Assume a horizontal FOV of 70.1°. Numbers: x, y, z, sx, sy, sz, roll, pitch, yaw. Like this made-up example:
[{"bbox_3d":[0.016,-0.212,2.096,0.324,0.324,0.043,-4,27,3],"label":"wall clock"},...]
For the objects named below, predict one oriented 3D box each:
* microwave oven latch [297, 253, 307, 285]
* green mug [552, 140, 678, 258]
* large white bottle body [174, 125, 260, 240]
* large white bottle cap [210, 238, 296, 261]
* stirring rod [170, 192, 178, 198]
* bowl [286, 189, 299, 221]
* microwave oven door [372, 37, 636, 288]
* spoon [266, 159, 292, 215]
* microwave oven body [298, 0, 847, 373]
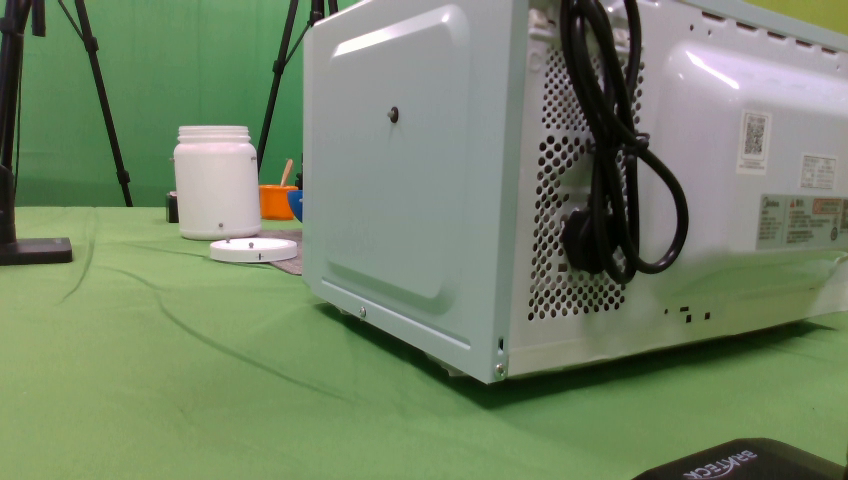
[{"bbox_3d":[-0.082,0.027,0.582,0.079,0.029,0.030,-1,7,-33],"label":"microwave oven latch"},{"bbox_3d":[0.179,-0.037,0.582,0.124,0.105,0.093,1,1,44],"label":"green mug"},{"bbox_3d":[-0.349,-0.100,1.024,0.131,0.184,0.130,-1,9,0],"label":"large white bottle body"},{"bbox_3d":[-0.236,0.012,0.839,0.115,0.018,0.115,2,7,0],"label":"large white bottle cap"},{"bbox_3d":[-0.465,-0.098,1.283,0.014,0.006,0.177,42,21,17],"label":"stirring rod"},{"bbox_3d":[-0.179,-0.051,1.115,0.151,0.077,0.151,3,8,0],"label":"bowl"},{"bbox_3d":[0.109,-0.080,0.686,0.358,0.243,0.039,-2,9,-33],"label":"microwave oven door"},{"bbox_3d":[-0.334,-0.127,1.424,0.041,0.193,0.022,0,-38,7],"label":"spoon"},{"bbox_3d":[0.151,-0.055,0.543,0.444,0.260,0.324,-1,7,-33],"label":"microwave oven body"}]
